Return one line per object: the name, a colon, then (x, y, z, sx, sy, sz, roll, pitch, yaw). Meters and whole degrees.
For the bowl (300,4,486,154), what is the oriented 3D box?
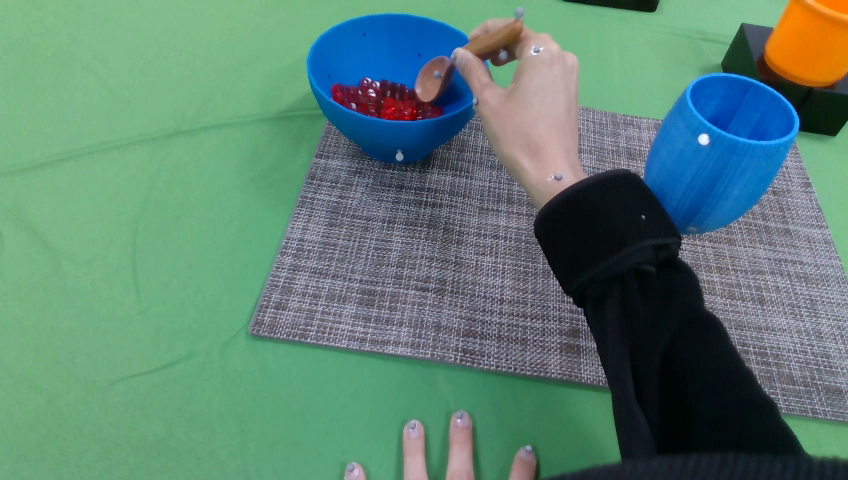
bowl: (-0.027, -0.128, 0.523, 0.151, 0.077, 0.150, 3, 52, -3)

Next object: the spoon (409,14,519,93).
spoon: (0.023, -0.143, 0.465, 0.022, 0.192, 0.041, 12, 92, -17)

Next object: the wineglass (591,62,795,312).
wineglass: (0.167, -0.026, 0.400, 0.074, 0.173, 0.073, 2, 51, -3)
